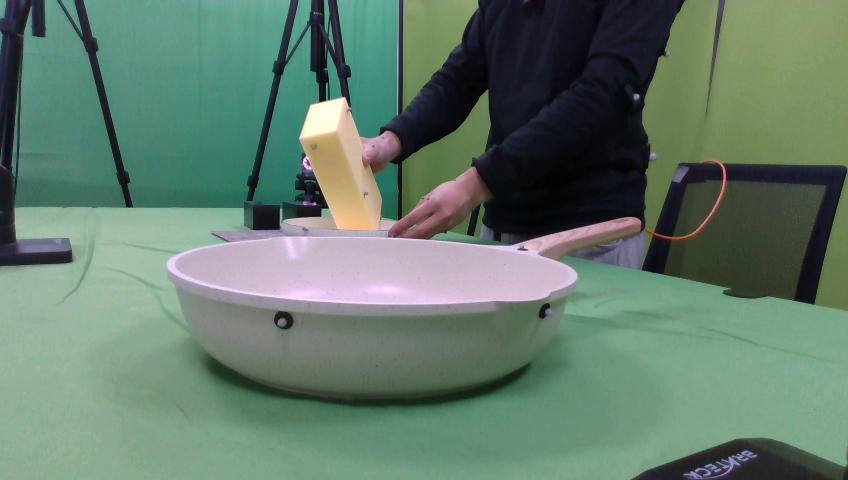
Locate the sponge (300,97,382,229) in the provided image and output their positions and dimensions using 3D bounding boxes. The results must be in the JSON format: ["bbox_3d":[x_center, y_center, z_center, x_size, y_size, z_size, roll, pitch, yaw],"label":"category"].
[{"bbox_3d":[-0.129,-0.112,0.990,0.061,0.207,0.118,-12,38,9],"label":"sponge"}]

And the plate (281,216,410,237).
[{"bbox_3d":[-0.126,-0.012,0.986,0.208,0.039,0.207,2,7,0],"label":"plate"}]

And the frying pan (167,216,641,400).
[{"bbox_3d":[0.046,0.024,0.519,0.490,0.102,0.305,-14,16,-37],"label":"frying pan"}]
